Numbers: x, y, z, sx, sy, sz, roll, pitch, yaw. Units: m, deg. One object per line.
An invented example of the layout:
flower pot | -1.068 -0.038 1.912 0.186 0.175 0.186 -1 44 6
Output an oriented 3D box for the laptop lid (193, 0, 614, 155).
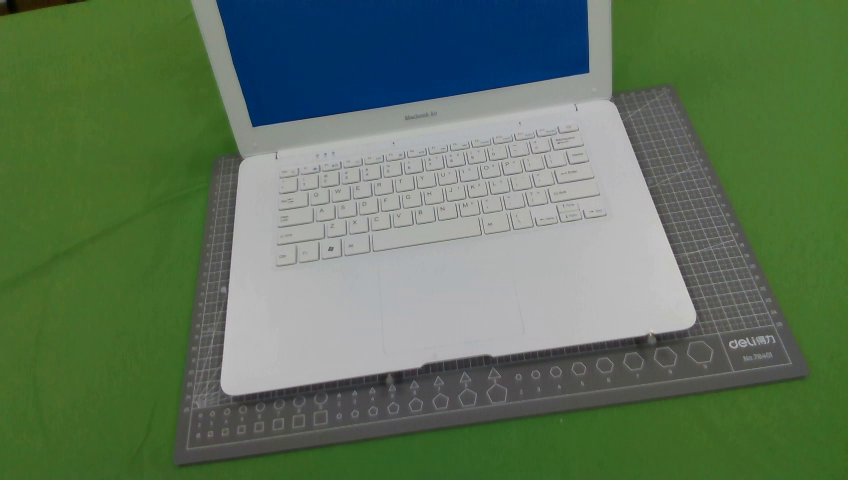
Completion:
laptop lid | -0.016 -0.204 0.515 0.357 0.243 0.013 -10 28 3

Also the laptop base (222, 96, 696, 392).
laptop base | 0.013 -0.007 0.507 0.354 0.023 0.233 -9 59 2
